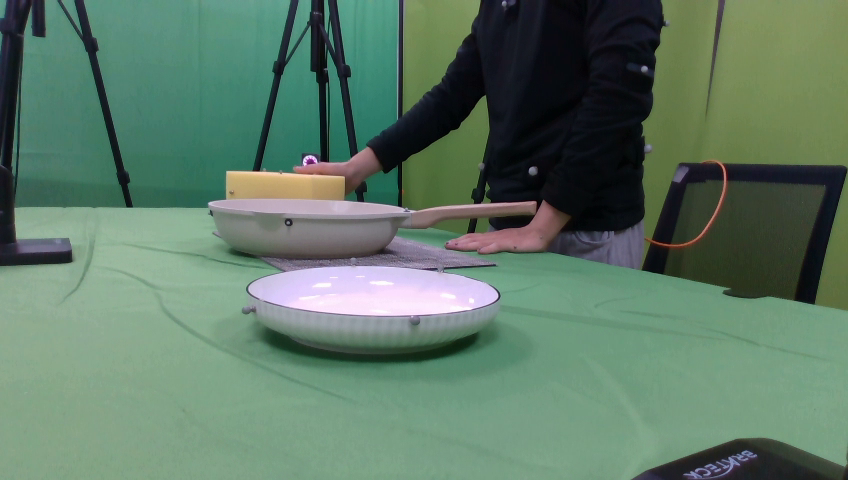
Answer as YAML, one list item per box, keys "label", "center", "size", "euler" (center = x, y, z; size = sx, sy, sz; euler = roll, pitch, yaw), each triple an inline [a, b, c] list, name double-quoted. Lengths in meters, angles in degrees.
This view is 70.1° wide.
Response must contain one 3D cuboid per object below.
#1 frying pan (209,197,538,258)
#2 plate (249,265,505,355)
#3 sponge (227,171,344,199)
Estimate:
- label: "frying pan"
  center: [-0.076, -0.034, 0.912]
  size: [0.487, 0.102, 0.307]
  euler: [-5, 7, 12]
- label: "plate"
  center: [-0.037, 0.056, 0.504]
  size: [0.208, 0.039, 0.207]
  euler: [2, 7, 0]
- label: "sponge"
  center: [-0.283, -0.108, 1.242]
  size: [0.206, 0.061, 0.118]
  euler: [5, 8, 23]
